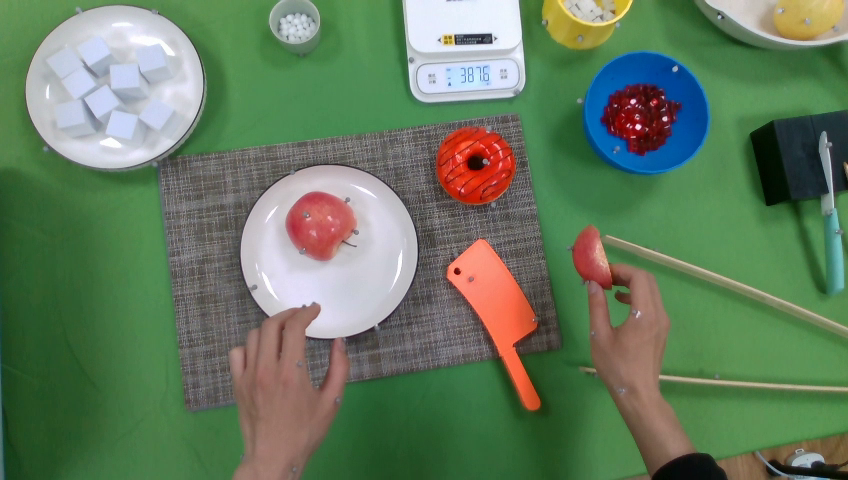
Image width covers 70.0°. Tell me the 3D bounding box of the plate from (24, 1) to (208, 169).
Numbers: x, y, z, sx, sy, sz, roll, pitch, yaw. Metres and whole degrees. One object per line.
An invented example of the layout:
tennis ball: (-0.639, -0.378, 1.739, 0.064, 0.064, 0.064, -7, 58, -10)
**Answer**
plate: (-0.364, -0.183, 0.730, 0.208, 0.039, 0.207, 1, 82, -4)

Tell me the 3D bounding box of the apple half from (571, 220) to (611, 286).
apple half: (0.178, 0.017, 0.660, 0.033, 0.081, 0.081, -18, 83, 10)

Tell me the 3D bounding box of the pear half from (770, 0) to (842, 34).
pear half: (0.485, -0.298, 0.760, 0.076, 0.110, 0.056, 28, 82, 4)

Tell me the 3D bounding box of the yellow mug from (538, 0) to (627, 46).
yellow mug: (0.191, -0.320, 0.770, 0.100, 0.064, 0.130, -41, 86, -7)

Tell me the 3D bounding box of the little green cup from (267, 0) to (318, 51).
little green cup: (-0.161, -0.268, 0.754, 0.061, 0.039, 0.061, 1, 82, -3)

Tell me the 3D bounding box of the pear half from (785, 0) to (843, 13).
pear half: (0.503, -0.327, 0.774, 0.070, 0.088, 0.031, 26, 83, 3)

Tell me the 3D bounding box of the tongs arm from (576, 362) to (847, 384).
tongs arm: (0.378, 0.147, 0.736, 0.385, 0.026, 0.050, 6, 77, -3)

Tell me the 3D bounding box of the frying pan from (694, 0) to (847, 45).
frying pan: (0.523, -0.305, 0.770, 0.307, 0.103, 0.485, -36, 78, -6)

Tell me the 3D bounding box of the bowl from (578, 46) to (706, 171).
bowl: (0.256, -0.151, 0.747, 0.151, 0.077, 0.151, 0, 83, -3)

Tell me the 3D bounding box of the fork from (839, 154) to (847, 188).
fork: (0.549, -0.007, 0.754, 0.028, 0.018, 0.208, -18, 100, -8)

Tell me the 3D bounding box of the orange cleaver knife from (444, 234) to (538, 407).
orange cleaver knife: (0.096, 0.095, 0.730, 0.077, 0.012, 0.210, -27, 84, -12)

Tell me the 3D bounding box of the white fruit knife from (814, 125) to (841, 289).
white fruit knife: (0.495, -0.038, 0.747, 0.016, 0.027, 0.208, -11, 98, -4)

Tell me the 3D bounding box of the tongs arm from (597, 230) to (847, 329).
tongs arm: (0.395, 0.063, 0.752, 0.388, 0.028, 0.028, 21, 73, 0)

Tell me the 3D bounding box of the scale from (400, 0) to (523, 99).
scale: (0.046, -0.283, 0.773, 0.149, 0.031, 0.200, -4, 83, -4)

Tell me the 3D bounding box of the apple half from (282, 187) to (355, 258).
apple half: (-0.125, -0.024, 0.706, 0.074, 0.053, 0.081, 43, 82, 6)

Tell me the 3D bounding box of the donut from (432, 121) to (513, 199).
donut: (0.058, -0.098, 0.740, 0.099, 0.048, 0.099, 0, 83, -2)

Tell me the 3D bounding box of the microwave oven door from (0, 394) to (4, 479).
microwave oven door: (-0.484, 0.135, 0.560, 0.039, 0.244, 0.354, -7, 83, -4)

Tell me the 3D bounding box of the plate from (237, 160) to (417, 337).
plate: (-0.112, 0.010, 0.718, 0.209, 0.038, 0.208, 1, 83, -3)
